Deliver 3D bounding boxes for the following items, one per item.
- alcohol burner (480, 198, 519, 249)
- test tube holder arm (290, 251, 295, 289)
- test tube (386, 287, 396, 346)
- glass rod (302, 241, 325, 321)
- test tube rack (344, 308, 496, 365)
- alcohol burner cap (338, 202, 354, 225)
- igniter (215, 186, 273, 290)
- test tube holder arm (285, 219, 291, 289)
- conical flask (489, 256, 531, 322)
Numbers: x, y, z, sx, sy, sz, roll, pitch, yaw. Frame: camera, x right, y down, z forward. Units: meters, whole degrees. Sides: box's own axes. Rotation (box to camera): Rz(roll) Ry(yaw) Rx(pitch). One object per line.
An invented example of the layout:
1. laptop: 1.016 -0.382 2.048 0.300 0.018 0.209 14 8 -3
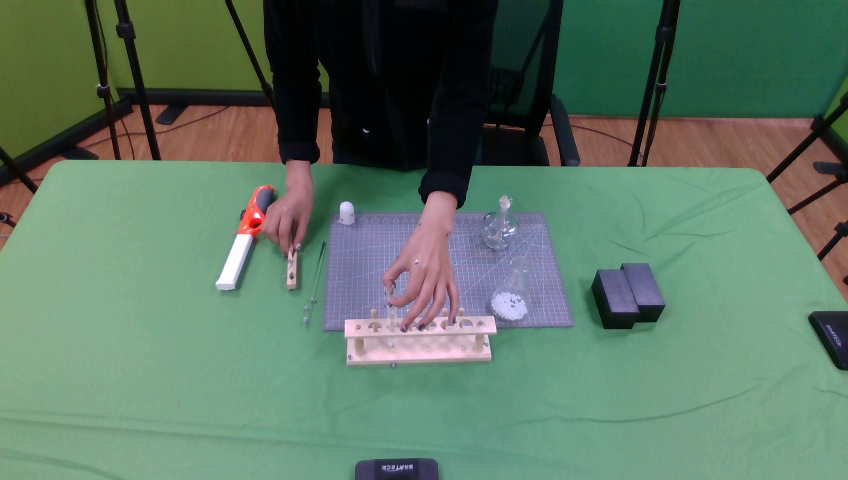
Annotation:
1. alcohol burner: 0.150 -0.038 1.182 0.078 0.119 0.077 3 47 -3
2. test tube holder arm: -0.245 0.055 1.127 0.010 0.015 0.087 5 43 -18
3. test tube: -0.051 0.123 0.945 0.017 0.151 0.017 1 49 -1
4. glass rod: -0.203 0.071 1.123 0.008 0.008 0.198 4 44 1
5. test tube rack: -0.009 0.154 1.006 0.242 0.085 0.066 -1 46 -5
6. alcohol burner cap: -0.159 -0.056 1.224 0.034 0.048 0.033 2 46 -2
7. igniter: -0.347 -0.013 1.181 0.057 0.025 0.275 1 45 5
8. test tube holder arm: -0.259 0.023 1.157 0.013 0.015 0.177 4 43 -18
9. conical flask: 0.158 0.081 1.060 0.075 0.122 0.075 2 46 -2
